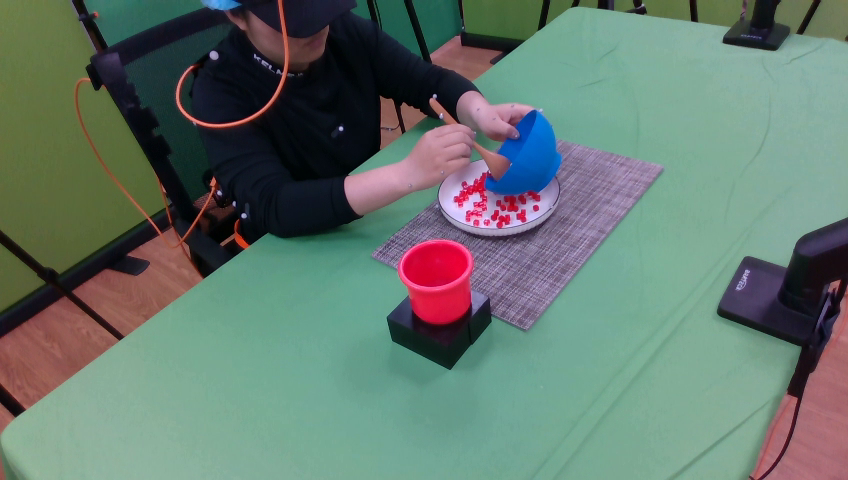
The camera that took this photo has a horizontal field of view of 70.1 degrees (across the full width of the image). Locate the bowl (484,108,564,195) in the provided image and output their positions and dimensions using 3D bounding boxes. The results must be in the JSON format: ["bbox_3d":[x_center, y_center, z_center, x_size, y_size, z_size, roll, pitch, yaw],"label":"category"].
[{"bbox_3d":[0.171,-0.128,0.976,0.077,0.151,0.151,30,44,-10],"label":"bowl"}]

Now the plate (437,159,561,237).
[{"bbox_3d":[0.127,-0.070,1.023,0.207,0.039,0.206,-5,40,5],"label":"plate"}]

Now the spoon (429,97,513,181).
[{"bbox_3d":[0.077,-0.157,0.962,0.041,0.195,0.021,-53,19,-6],"label":"spoon"}]
